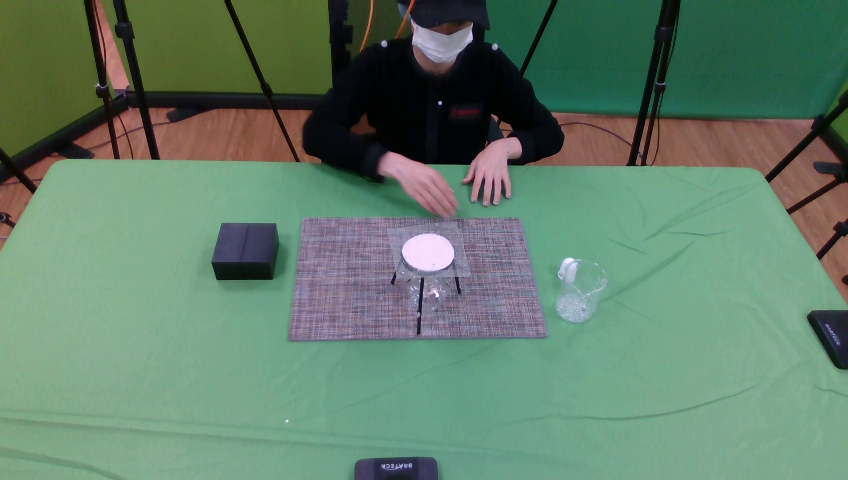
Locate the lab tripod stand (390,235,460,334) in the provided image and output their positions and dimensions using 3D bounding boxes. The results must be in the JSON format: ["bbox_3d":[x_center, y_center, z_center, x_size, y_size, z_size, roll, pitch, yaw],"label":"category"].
[{"bbox_3d":[-0.002,0.067,1.050,0.148,0.132,0.147,1,47,-1],"label":"lab tripod stand"}]

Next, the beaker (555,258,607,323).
[{"bbox_3d":[0.275,0.094,1.073,0.074,0.101,0.083,10,47,6],"label":"beaker"}]

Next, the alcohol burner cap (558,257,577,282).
[{"bbox_3d":[0.276,0.053,1.154,0.034,0.048,0.033,1,46,-1],"label":"alcohol burner cap"}]

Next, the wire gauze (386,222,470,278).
[{"bbox_3d":[0.004,0.016,1.005,0.125,0.011,0.120,-5,46,-8],"label":"wire gauze"}]

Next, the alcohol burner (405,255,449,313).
[{"bbox_3d":[0.006,0.071,1.060,0.078,0.120,0.077,1,45,-1],"label":"alcohol burner"}]
